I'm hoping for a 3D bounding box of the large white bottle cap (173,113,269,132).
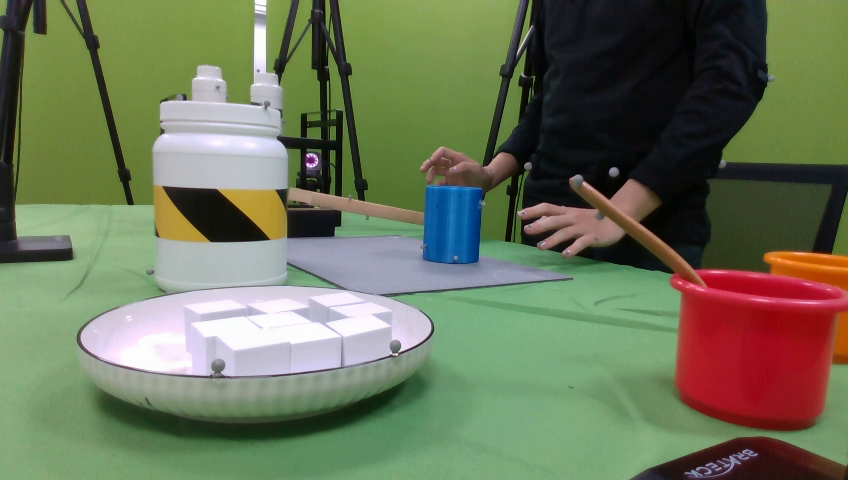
[{"bbox_3d":[-0.254,-0.146,0.760,0.115,0.018,0.115,1,7,0],"label":"large white bottle cap"}]

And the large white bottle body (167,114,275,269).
[{"bbox_3d":[-0.257,-0.063,0.771,0.131,0.184,0.130,2,7,0],"label":"large white bottle body"}]

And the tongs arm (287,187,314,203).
[{"bbox_3d":[-0.084,-0.061,1.243,0.389,0.027,0.028,10,-3,-19],"label":"tongs arm"}]

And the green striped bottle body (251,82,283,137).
[{"bbox_3d":[-0.317,-0.270,1.220,0.063,0.119,0.063,2,7,0],"label":"green striped bottle body"}]

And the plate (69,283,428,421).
[{"bbox_3d":[-0.102,0.066,0.381,0.208,0.039,0.207,2,7,0],"label":"plate"}]

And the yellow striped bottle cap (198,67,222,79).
[{"bbox_3d":[-0.411,-0.320,1.163,0.044,0.018,0.044,1,6,0],"label":"yellow striped bottle cap"}]

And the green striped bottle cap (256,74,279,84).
[{"bbox_3d":[-0.314,-0.322,1.214,0.044,0.020,0.044,2,9,0],"label":"green striped bottle cap"}]

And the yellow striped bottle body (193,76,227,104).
[{"bbox_3d":[-0.414,-0.268,1.169,0.063,0.120,0.063,2,7,0],"label":"yellow striped bottle body"}]

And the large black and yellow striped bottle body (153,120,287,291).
[{"bbox_3d":[-0.208,-0.042,0.626,0.131,0.184,0.130,2,7,0],"label":"large black and yellow striped bottle body"}]

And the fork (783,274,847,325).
[{"bbox_3d":[0.332,0.018,0.443,0.028,0.018,0.207,-1,-36,-15],"label":"fork"}]

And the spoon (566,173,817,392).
[{"bbox_3d":[0.161,0.024,0.370,0.193,0.021,0.042,47,17,3],"label":"spoon"}]

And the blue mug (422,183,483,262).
[{"bbox_3d":[0.032,-0.028,0.877,0.083,0.106,0.116,-2,8,-31],"label":"blue mug"}]

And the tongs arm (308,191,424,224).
[{"bbox_3d":[-0.048,-0.051,1.170,0.387,0.026,0.050,9,1,-32],"label":"tongs arm"}]

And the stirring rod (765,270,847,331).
[{"bbox_3d":[0.352,0.020,0.484,0.176,0.006,0.014,-40,-7,13],"label":"stirring rod"}]

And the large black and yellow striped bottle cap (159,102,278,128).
[{"bbox_3d":[-0.207,-0.125,0.615,0.115,0.019,0.115,2,6,0],"label":"large black and yellow striped bottle cap"}]
